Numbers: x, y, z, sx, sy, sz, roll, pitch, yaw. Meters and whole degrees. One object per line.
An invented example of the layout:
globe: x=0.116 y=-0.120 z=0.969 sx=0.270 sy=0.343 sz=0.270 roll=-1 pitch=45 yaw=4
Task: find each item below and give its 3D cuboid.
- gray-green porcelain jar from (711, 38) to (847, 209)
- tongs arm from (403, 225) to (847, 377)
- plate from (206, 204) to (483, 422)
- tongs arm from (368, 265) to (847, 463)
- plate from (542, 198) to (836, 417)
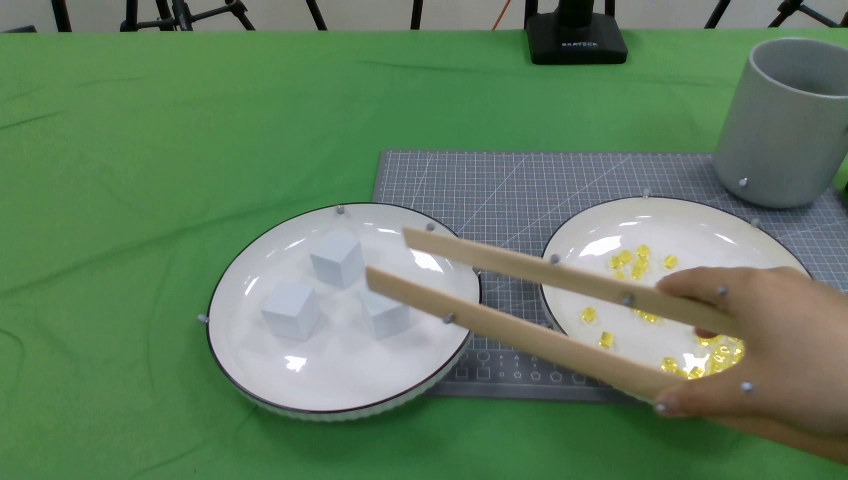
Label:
gray-green porcelain jar: x=0.328 y=-0.100 z=0.550 sx=0.106 sy=0.127 sz=0.105 roll=-1 pitch=44 yaw=2
tongs arm: x=0.149 y=0.055 z=0.369 sx=0.382 sy=0.027 sz=0.050 roll=14 pitch=44 yaw=21
plate: x=-0.058 y=0.053 z=0.473 sx=0.209 sy=0.038 sz=0.207 roll=-2 pitch=44 yaw=2
tongs arm: x=0.134 y=0.074 z=0.349 sx=0.385 sy=0.028 sz=0.028 roll=16 pitch=41 yaw=23
plate: x=0.195 y=0.048 z=0.468 sx=0.208 sy=0.039 sz=0.205 roll=-1 pitch=44 yaw=1
